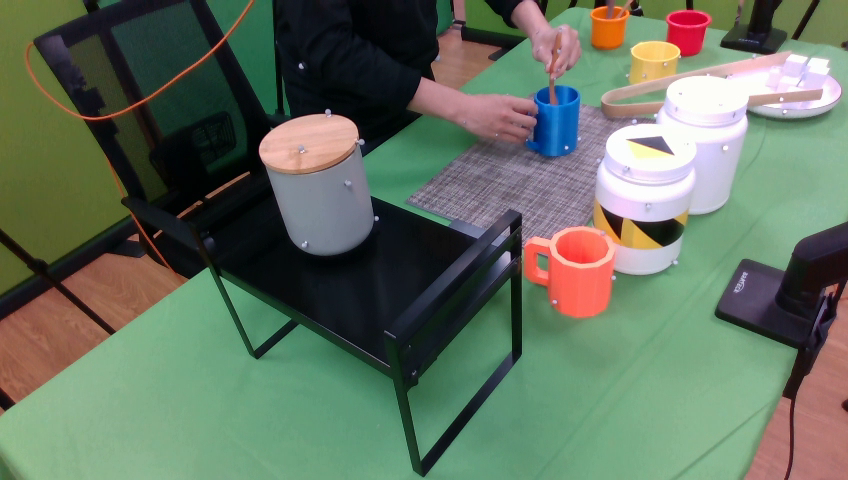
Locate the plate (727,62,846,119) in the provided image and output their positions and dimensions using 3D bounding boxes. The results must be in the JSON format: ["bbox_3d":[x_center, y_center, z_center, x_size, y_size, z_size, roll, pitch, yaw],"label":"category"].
[{"bbox_3d":[0.709,-0.292,1.197,0.207,0.039,0.206,-4,40,4],"label":"plate"}]

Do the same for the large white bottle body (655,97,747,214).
[{"bbox_3d":[0.430,-0.148,0.959,0.130,0.185,0.130,-4,41,4],"label":"large white bottle body"}]

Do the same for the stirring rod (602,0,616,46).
[{"bbox_3d":[0.452,-0.554,1.464,0.014,0.006,0.176,11,86,15],"label":"stirring rod"}]

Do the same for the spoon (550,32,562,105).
[{"bbox_3d":[0.230,-0.275,1.071,0.021,0.194,0.041,18,51,26],"label":"spoon"}]

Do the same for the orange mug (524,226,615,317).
[{"bbox_3d":[0.201,0.039,0.845,0.125,0.101,0.083,18,46,21],"label":"orange mug"}]

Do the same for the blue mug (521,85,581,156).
[{"bbox_3d":[0.233,-0.218,1.127,0.117,0.106,0.081,-21,42,-14],"label":"blue mug"}]

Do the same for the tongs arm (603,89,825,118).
[{"bbox_3d":[0.546,-0.262,1.163,0.386,0.028,0.028,-1,49,18],"label":"tongs arm"}]

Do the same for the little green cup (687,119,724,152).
[{"bbox_3d":[0.513,-0.191,1.109,0.061,0.039,0.061,-5,40,5],"label":"little green cup"}]

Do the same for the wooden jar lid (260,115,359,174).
[{"bbox_3d":[-0.124,-0.101,0.662,0.108,0.021,0.108,-4,41,4],"label":"wooden jar lid"}]

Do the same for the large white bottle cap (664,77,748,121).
[{"bbox_3d":[0.421,-0.212,0.905,0.115,0.018,0.114,-4,40,4],"label":"large white bottle cap"}]

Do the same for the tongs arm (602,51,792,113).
[{"bbox_3d":[0.552,-0.320,1.224,0.384,0.027,0.050,-10,43,7],"label":"tongs arm"}]

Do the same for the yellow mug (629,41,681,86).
[{"bbox_3d":[0.495,-0.389,1.321,0.100,0.064,0.130,-14,40,-7],"label":"yellow mug"}]

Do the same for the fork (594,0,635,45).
[{"bbox_3d":[0.484,-0.552,1.447,0.207,0.019,0.028,-51,46,17],"label":"fork"}]

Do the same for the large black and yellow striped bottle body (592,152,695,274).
[{"bbox_3d":[0.313,-0.056,0.872,0.131,0.185,0.130,-4,41,4],"label":"large black and yellow striped bottle body"}]

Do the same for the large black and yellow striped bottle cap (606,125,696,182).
[{"bbox_3d":[0.305,-0.119,0.816,0.115,0.019,0.114,-5,41,5],"label":"large black and yellow striped bottle cap"}]

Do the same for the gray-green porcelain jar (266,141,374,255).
[{"bbox_3d":[-0.117,-0.054,0.702,0.106,0.127,0.105,-4,40,4],"label":"gray-green porcelain jar"}]
